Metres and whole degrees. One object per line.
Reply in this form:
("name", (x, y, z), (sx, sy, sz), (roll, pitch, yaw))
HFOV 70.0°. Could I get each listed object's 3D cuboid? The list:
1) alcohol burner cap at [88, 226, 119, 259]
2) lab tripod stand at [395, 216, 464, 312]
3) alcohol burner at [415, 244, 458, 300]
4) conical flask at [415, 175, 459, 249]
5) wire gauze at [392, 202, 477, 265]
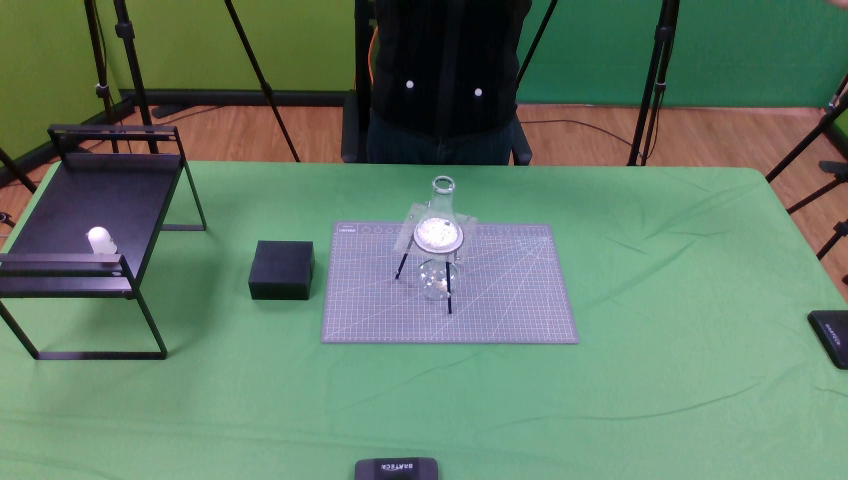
("alcohol burner cap", (-0.476, 0.002, 0.895), (0.034, 0.048, 0.033), (1, 46, -1))
("lab tripod stand", (0.023, 0.037, 1.084), (0.148, 0.132, 0.147), (4, 47, -4))
("alcohol burner", (0.024, 0.051, 1.084), (0.078, 0.119, 0.077), (3, 45, -3))
("conical flask", (0.026, -0.049, 0.993), (0.075, 0.122, 0.075), (3, 47, -3))
("wire gauze", (0.021, -0.011, 1.037), (0.121, 0.011, 0.124), (13, 49, 8))
